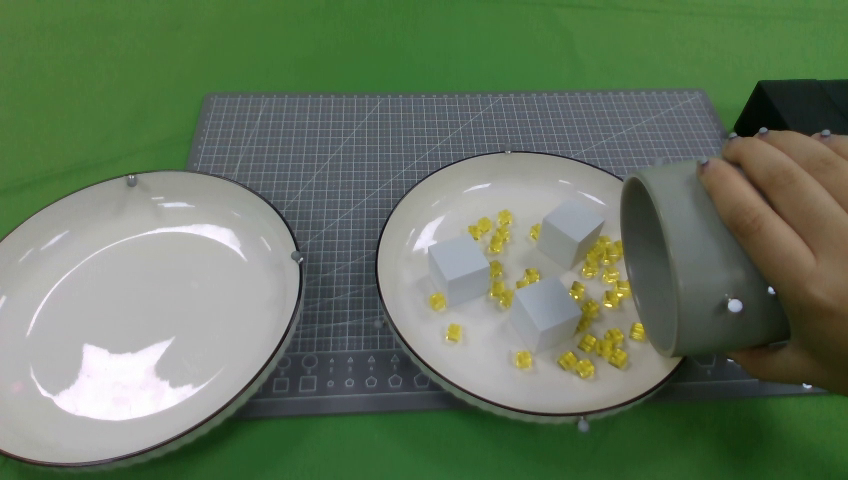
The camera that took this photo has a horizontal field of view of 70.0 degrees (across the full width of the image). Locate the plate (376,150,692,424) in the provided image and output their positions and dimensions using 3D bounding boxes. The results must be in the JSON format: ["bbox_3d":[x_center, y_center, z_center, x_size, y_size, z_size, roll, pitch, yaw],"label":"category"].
[{"bbox_3d":[0.073,0.025,0.401,0.208,0.039,0.205,1,52,-1],"label":"plate"}]

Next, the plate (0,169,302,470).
[{"bbox_3d":[-0.179,0.042,0.378,0.209,0.038,0.207,0,52,0],"label":"plate"}]

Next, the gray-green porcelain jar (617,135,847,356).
[{"bbox_3d":[0.182,0.002,0.329,0.126,0.107,0.105,-9,52,6],"label":"gray-green porcelain jar"}]
